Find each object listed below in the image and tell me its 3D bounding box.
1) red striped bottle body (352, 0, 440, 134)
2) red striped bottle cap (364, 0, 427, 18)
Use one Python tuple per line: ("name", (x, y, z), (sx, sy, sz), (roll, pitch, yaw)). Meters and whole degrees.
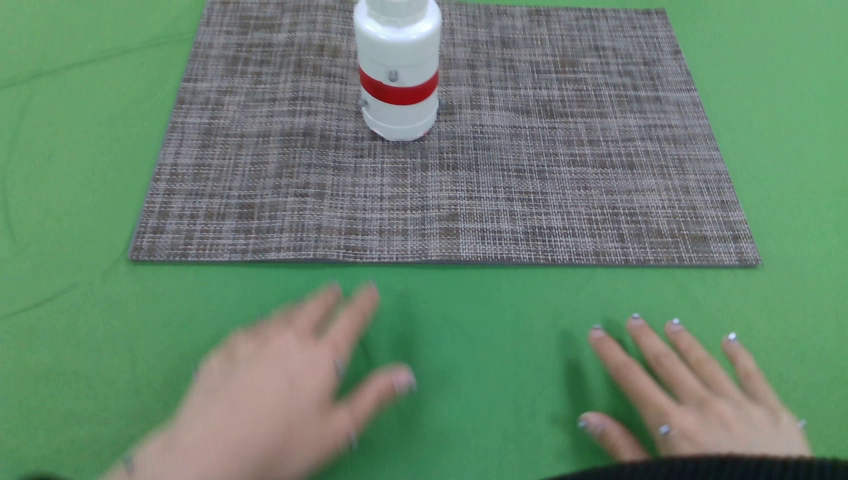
("red striped bottle body", (-0.020, -0.143, 0.458), (0.063, 0.120, 0.062), (1, 57, -1))
("red striped bottle cap", (-0.020, -0.173, 0.414), (0.044, 0.018, 0.044), (2, 59, -2))
